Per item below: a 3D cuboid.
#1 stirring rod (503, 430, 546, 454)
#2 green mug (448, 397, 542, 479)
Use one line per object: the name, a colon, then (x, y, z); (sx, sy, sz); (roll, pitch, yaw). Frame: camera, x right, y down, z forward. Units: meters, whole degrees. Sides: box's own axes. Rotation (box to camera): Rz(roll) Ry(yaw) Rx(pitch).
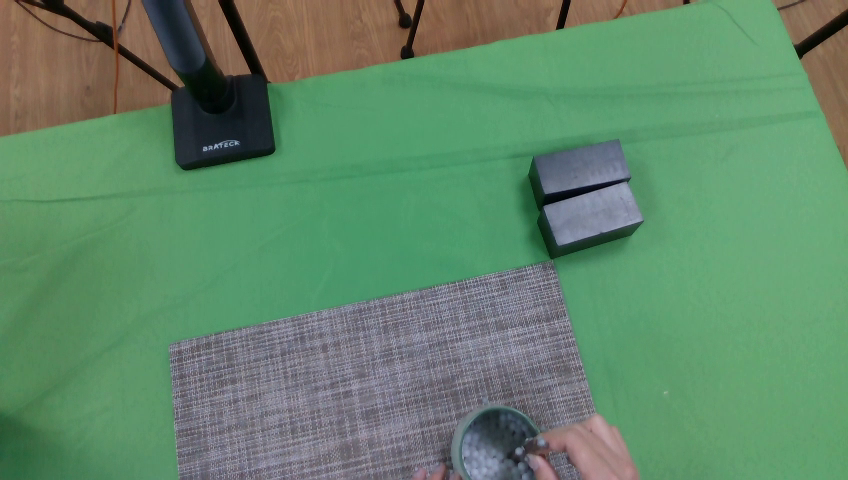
stirring rod: (0.087, 0.182, 0.541); (0.014, 0.177, 0.006); (11, 68, 5)
green mug: (0.078, 0.214, 0.591); (0.092, 0.105, 0.124); (-29, 74, -7)
